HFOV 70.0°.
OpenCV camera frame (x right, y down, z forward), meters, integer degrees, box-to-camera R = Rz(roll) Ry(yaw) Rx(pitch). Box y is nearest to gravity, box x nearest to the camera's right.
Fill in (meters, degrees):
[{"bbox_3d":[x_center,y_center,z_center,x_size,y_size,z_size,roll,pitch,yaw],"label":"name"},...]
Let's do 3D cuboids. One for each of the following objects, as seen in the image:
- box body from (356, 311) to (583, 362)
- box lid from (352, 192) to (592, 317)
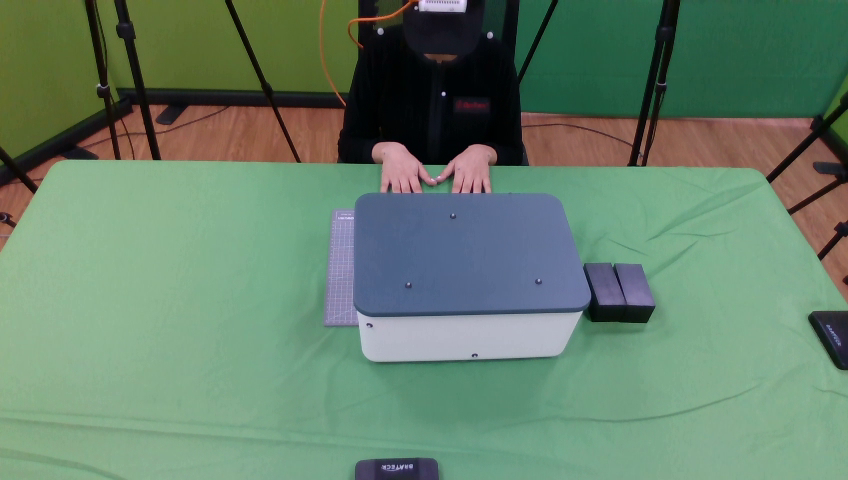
[{"bbox_3d":[0.065,0.066,1.040,0.364,0.161,0.252,-1,46,-5],"label":"box body"},{"bbox_3d":[0.071,0.014,0.986,0.372,0.015,0.261,-1,47,-5],"label":"box lid"}]
